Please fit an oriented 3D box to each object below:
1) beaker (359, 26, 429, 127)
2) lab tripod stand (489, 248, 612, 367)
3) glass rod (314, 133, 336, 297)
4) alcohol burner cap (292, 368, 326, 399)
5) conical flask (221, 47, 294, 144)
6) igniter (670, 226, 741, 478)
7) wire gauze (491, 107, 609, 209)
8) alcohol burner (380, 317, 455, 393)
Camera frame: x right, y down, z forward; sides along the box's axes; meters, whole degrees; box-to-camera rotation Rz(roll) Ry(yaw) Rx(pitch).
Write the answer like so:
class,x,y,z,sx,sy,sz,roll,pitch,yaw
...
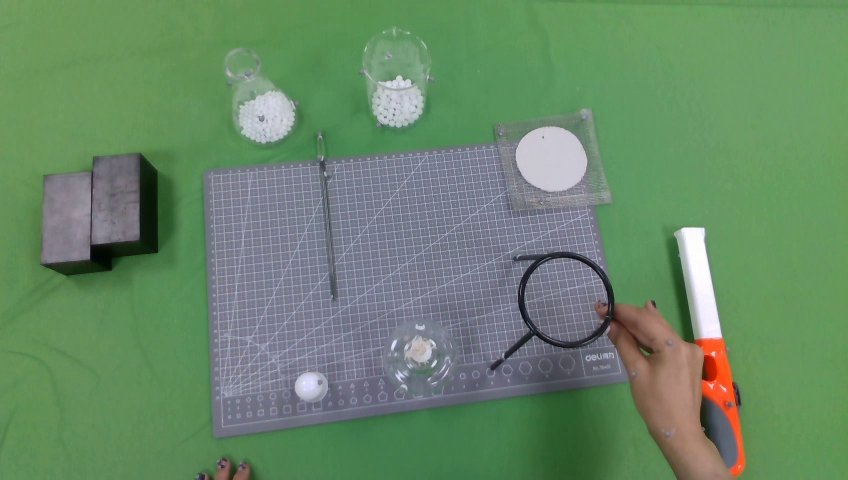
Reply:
class,x,y,z,sx,sy,sz,roll,pitch,yaw
beaker,-0.035,-0.184,0.697,0.074,0.100,0.083,-4,74,-4
lab tripod stand,0.124,0.071,0.617,0.148,0.132,0.147,1,77,-3
glass rod,-0.114,-0.032,0.694,0.008,0.008,0.198,-7,75,-5
alcohol burner cap,-0.121,0.149,0.629,0.034,0.048,0.033,1,75,-3
conical flask,-0.190,-0.163,0.670,0.075,0.122,0.075,1,74,-3
igniter,0.312,0.117,0.674,0.057,0.025,0.275,1,75,-14
wire gauze,0.152,-0.098,0.730,0.125,0.011,0.121,-7,76,-5
alcohol burner,-0.006,0.114,0.609,0.078,0.119,0.077,1,76,-3
